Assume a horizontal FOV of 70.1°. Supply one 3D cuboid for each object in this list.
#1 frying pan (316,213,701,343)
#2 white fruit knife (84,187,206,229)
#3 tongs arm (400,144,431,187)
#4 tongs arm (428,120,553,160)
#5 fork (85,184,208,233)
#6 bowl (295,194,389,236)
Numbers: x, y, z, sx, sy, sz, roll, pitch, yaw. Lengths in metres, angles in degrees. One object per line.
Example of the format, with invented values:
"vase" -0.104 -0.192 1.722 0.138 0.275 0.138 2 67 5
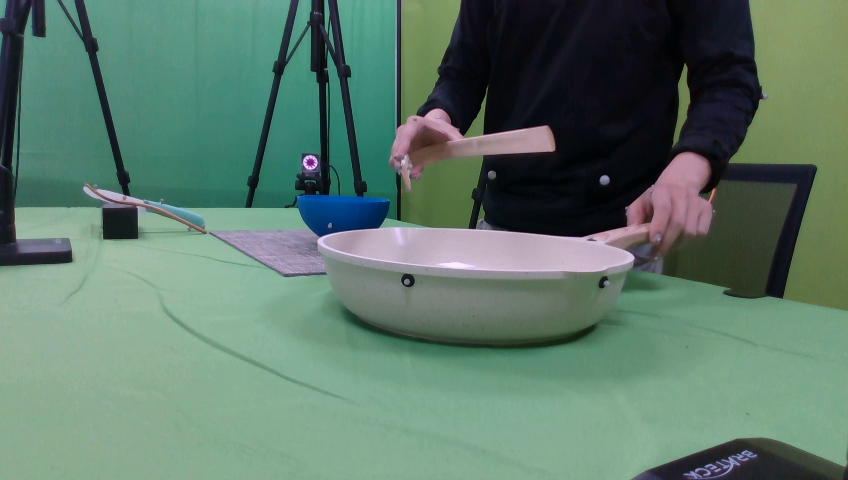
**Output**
"frying pan" 0.133 0.014 0.629 0.490 0.102 0.305 -12 14 -30
"white fruit knife" -0.488 -0.059 1.071 0.208 0.027 0.016 17 4 -33
"tongs arm" -0.005 -0.096 0.736 0.051 0.026 0.384 -18 10 0
"tongs arm" 0.067 -0.118 0.741 0.028 0.028 0.386 -23 11 -11
"fork" -0.462 -0.051 1.019 0.208 0.018 0.028 22 -10 -37
"bowl" -0.133 -0.032 0.980 0.151 0.077 0.151 2 7 0
